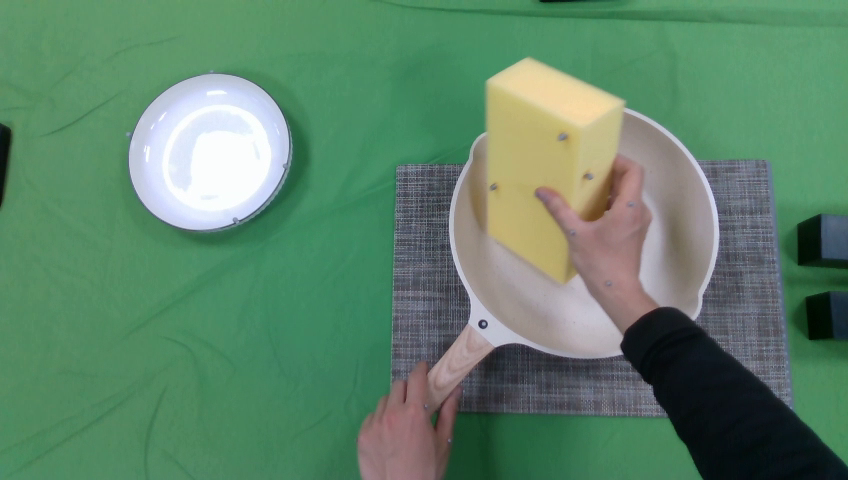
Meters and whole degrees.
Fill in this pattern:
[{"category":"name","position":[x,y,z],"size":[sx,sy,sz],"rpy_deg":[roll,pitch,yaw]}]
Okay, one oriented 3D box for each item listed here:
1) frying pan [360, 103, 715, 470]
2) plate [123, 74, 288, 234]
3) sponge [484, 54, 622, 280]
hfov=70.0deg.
[{"category":"frying pan","position":[0.102,0.056,0.672],"size":[0.305,0.103,0.487],"rpy_deg":[42,77,12]},{"category":"plate","position":[-0.272,-0.107,0.769],"size":[0.207,0.039,0.206],"rpy_deg":[-1,79,4]},{"category":"sponge","position":[0.125,-0.071,0.632],"size":[0.061,0.209,0.117],"rpy_deg":[-35,52,-26]}]
